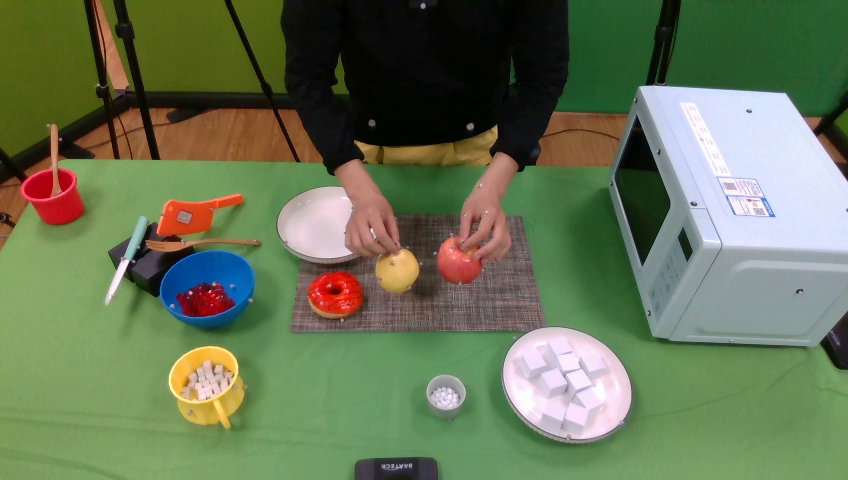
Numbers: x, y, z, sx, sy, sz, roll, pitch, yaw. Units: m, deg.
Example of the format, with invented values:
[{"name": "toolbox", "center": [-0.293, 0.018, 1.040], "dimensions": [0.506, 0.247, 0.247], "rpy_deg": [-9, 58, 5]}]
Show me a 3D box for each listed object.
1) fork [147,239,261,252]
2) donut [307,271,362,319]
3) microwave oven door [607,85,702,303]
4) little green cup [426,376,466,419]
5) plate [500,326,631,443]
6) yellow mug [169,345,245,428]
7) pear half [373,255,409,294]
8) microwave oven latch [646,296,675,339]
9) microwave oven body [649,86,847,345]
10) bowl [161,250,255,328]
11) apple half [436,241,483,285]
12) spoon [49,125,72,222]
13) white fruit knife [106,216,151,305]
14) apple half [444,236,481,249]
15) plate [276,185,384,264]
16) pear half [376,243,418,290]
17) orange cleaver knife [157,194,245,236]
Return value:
[{"name": "fork", "center": [-0.399, 0.007, 1.118], "dimensions": [0.208, 0.019, 0.028], "rpy_deg": [-4, 37, -36]}, {"name": "donut", "center": [-0.157, 0.097, 1.073], "dimensions": [0.099, 0.048, 0.098], "rpy_deg": [4, 45, -4]}, {"name": "microwave oven door", "center": [0.423, -0.094, 1.140], "dimensions": [0.039, 0.245, 0.353], "rpy_deg": [2, 46, -1]}, {"name": "little green cup", "center": [0.033, 0.248, 0.950], "dimensions": [0.061, 0.039, 0.061], "rpy_deg": [2, 46, -2]}, {"name": "plate", "center": [0.224, 0.234, 0.978], "dimensions": [0.208, 0.039, 0.206], "rpy_deg": [2, 46, -2]}, {"name": "yellow mug", "center": [-0.322, 0.230, 0.922], "dimensions": [0.100, 0.064, 0.130], "rpy_deg": [-24, 53, -25]}, {"name": "pear half", "center": [-0.061, 0.064, 1.032], "dimensions": [0.070, 0.088, 0.031], "rpy_deg": [21, 51, 12]}, {"name": "microwave oven latch", "center": [0.412, 0.134, 1.061], "dimensions": [0.030, 0.029, 0.078], "rpy_deg": [4, 45, 1]}, {"name": "microwave oven body", "center": [0.568, -0.053, 1.118], "dimensions": [0.326, 0.261, 0.439], "rpy_deg": [2, 45, -1]}, {"name": "bowl", "center": [-0.362, 0.097, 1.040], "dimensions": [0.151, 0.077, 0.150], "rpy_deg": [2, 45, -2]}, {"name": "apple half", "center": [0.059, 0.045, 1.033], "dimensions": [0.081, 0.075, 0.053], "rpy_deg": [14, 45, -5]}, {"name": "spoon", "center": [-0.717, -0.131, 1.189], "dimensions": [0.042, 0.021, 0.193], "rpy_deg": [-3, 90, -7]}, {"name": "white fruit knife", "center": [-0.519, 0.032, 1.066], "dimensions": [0.027, 0.016, 0.206], "rpy_deg": [-18, 45, 19]}, {"name": "apple half", "center": [0.063, 0.019, 1.061], "dimensions": [0.081, 0.081, 0.032], "rpy_deg": [5, 45, 2]}, {"name": "plate", "center": [-0.184, -0.027, 1.195], "dimensions": [0.209, 0.038, 0.208], "rpy_deg": [2, 46, -2]}, {"name": "pear half", "center": [-0.044, 0.035, 1.046], "dimensions": [0.076, 0.110, 0.056], "rpy_deg": [22, 52, 14]}, {"name": "orange cleaver knife", "center": [-0.427, -0.050, 1.175], "dimensions": [0.012, 0.077, 0.211], "rpy_deg": [23, 19, 20]}]
